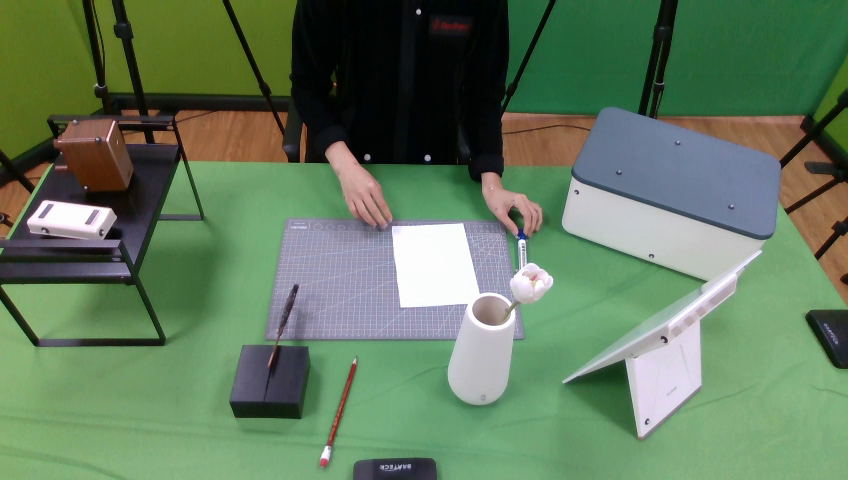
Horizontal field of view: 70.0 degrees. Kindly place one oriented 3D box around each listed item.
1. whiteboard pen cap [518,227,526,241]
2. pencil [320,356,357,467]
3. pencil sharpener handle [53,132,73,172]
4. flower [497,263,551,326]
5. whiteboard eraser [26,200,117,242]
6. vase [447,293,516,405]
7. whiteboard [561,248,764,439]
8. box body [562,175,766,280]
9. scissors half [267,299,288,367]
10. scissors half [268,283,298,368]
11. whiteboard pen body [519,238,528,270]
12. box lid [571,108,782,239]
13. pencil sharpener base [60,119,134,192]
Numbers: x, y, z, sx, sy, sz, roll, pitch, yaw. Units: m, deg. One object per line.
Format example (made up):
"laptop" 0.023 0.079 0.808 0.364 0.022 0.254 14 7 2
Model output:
"whiteboard pen cap" 0.196 -0.009 1.221 0.018 0.018 0.033 7 50 2
"pencil" -0.130 0.261 0.946 0.012 0.012 0.193 10 45 5
"pencil sharpener handle" -0.578 -0.138 0.961 0.031 0.068 0.036 -4 34 -7
"flower" 0.102 0.121 0.853 0.044 0.363 0.038 -1 64 -9
"whiteboard eraser" -0.532 -0.026 0.919 0.113 0.042 0.055 7 45 3
"vase" 0.091 0.169 0.921 0.098 0.201 0.097 3 47 -3
"whiteboard" 0.386 0.176 0.905 0.217 0.306 0.143 -26 72 -27
"box body" 0.486 -0.088 1.222 0.363 0.161 0.253 20 48 15
"scissors half" -0.239 0.150 0.997 0.013 0.040 0.174 24 24 -13
"scissors half" -0.230 0.135 0.986 0.013 0.040 0.174 19 43 -11
"whiteboard pen body" 0.193 0.035 1.181 0.017 0.017 0.140 6 48 1
"box lid" 0.491 -0.139 1.168 0.370 0.015 0.262 21 49 15
"pencil sharpener base" -0.528 -0.135 0.979 0.077 0.107 0.061 -4 47 -7
